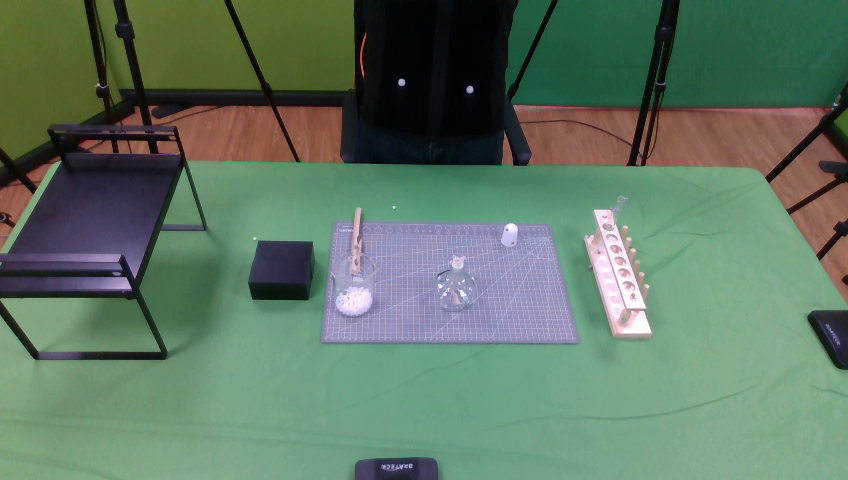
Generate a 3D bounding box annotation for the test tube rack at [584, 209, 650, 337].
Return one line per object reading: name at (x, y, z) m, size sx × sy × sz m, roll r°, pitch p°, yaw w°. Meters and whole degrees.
test tube rack at (0.365, 0.056, 1.129) m, size 0.067 × 0.085 × 0.240 m, roll 1°, pitch 46°, yaw -4°

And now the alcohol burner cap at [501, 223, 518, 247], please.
alcohol burner cap at (0.172, -0.013, 1.206) m, size 0.034 × 0.048 × 0.033 m, roll 1°, pitch 46°, yaw -1°

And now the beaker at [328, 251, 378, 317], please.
beaker at (-0.123, 0.079, 1.055) m, size 0.084 × 0.101 × 0.073 m, roll 0°, pitch 47°, yaw -5°

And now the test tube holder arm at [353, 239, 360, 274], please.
test tube holder arm at (-0.130, 0.030, 1.159) m, size 0.010 × 0.015 × 0.087 m, roll 24°, pitch 38°, yaw -24°

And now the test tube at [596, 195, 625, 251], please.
test tube at (0.349, -0.028, 1.141) m, size 0.017 × 0.151 × 0.017 m, roll 1°, pitch 51°, yaw -2°

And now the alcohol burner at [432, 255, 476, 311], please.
alcohol burner at (0.055, 0.070, 1.068) m, size 0.078 × 0.119 × 0.077 m, roll 3°, pitch 45°, yaw -3°

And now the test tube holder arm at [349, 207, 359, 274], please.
test tube holder arm at (-0.137, -0.004, 1.189) m, size 0.013 × 0.015 × 0.177 m, roll 23°, pitch 39°, yaw -25°
